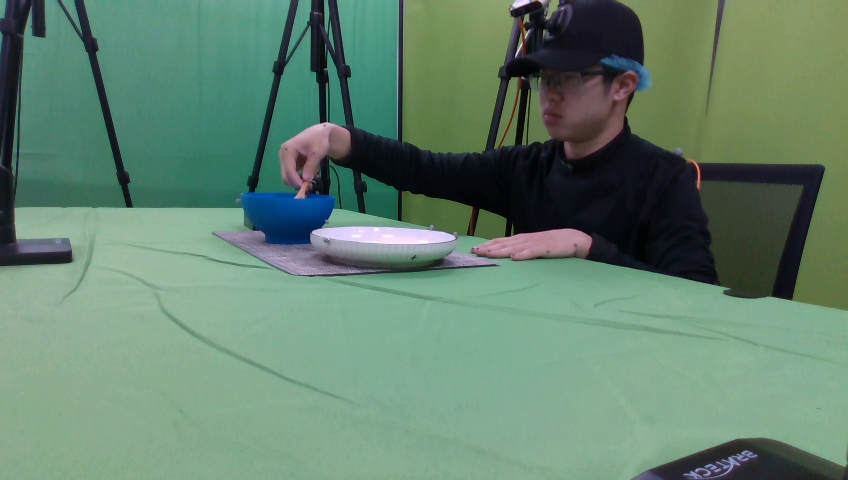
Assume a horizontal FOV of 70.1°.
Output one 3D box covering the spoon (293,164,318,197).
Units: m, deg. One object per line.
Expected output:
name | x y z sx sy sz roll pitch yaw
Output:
spoon | -0.204 -0.090 1.030 0.041 0.021 0.193 5 34 2

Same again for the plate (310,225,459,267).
plate | -0.055 0.008 0.851 0.208 0.039 0.207 2 7 0

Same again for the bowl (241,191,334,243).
bowl | -0.223 -0.037 0.992 0.151 0.077 0.151 2 7 0
